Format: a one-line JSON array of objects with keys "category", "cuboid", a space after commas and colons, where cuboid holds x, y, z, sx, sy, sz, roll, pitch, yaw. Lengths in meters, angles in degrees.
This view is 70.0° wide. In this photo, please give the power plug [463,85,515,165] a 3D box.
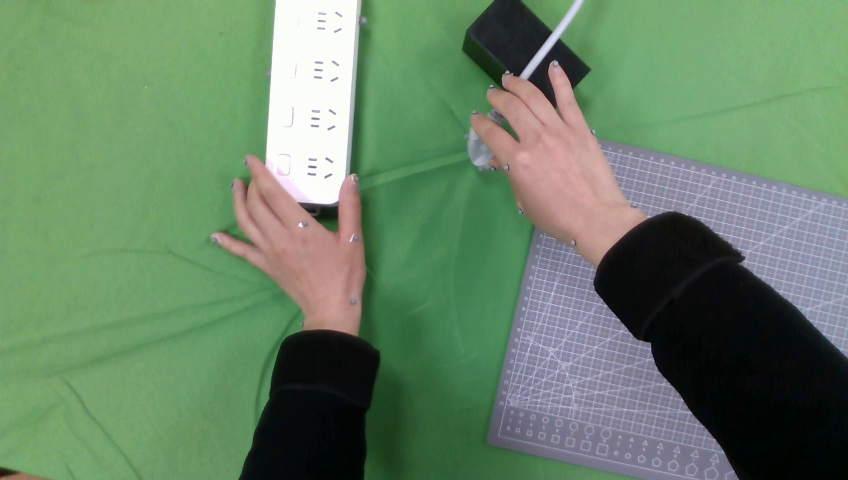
[{"category": "power plug", "cuboid": [0.066, -0.093, 0.533, 0.053, 0.072, 0.035, 26, 48, -37]}]

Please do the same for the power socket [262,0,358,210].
[{"category": "power socket", "cuboid": [-0.100, -0.141, 0.539, 0.072, 0.032, 0.226, 4, 90, -3]}]
